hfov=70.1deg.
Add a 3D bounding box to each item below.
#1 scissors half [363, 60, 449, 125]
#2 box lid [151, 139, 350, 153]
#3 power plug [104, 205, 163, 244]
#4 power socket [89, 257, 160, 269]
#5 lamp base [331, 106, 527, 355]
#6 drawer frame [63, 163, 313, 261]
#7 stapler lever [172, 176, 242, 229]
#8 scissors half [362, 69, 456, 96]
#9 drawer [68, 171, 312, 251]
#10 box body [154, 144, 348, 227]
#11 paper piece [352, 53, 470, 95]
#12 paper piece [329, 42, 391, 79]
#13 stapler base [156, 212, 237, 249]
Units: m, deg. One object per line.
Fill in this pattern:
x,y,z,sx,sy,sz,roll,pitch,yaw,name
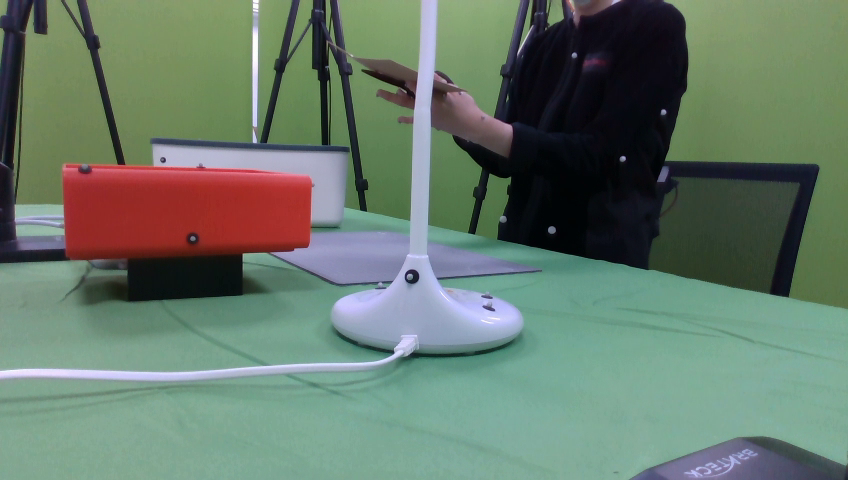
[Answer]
-0.027,-0.234,0.957,0.176,0.040,0.012,32,-12,-32,scissors half
-0.352,-0.191,1.256,0.373,0.015,0.262,0,8,-18,box lid
-0.390,-0.021,0.815,0.073,0.052,0.035,-1,7,-27,power plug
-0.409,0.004,0.793,0.072,0.032,0.225,-2,8,-38,power socket
0.006,-0.012,0.478,0.161,0.180,0.179,2,10,2,lamp base
-0.248,-0.036,0.626,0.215,0.082,0.200,-3,9,-31,drawer frame
-0.218,-0.041,0.618,0.027,0.040,0.118,18,11,-2,stapler lever
-0.021,-0.256,0.959,0.176,0.040,0.013,-2,2,-34,scissors half
-0.247,-0.036,0.629,0.213,0.073,0.193,-3,9,-30,drawer
-0.357,-0.119,1.264,0.365,0.160,0.253,0,7,-18,box body
-0.021,-0.239,0.879,0.139,0.008,0.135,16,10,-32,paper piece
-0.082,-0.280,0.988,0.136,0.004,0.134,26,11,-34,paper piece
-0.227,-0.017,0.624,0.041,0.024,0.130,18,10,-2,stapler base
